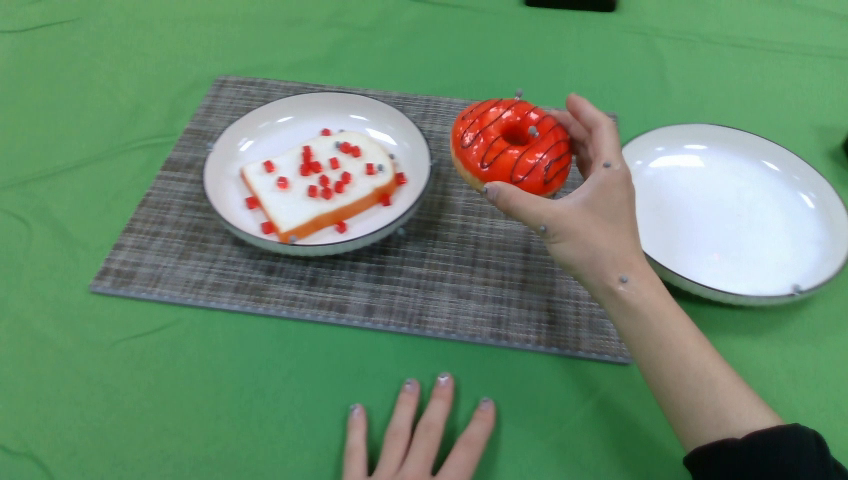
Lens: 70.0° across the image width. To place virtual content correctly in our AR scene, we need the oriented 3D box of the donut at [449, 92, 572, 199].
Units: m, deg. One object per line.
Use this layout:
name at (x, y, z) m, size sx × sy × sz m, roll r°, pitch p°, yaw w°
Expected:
donut at (0.067, -0.075, 0.472) m, size 0.099 × 0.048 × 0.098 m, roll 8°, pitch 54°, yaw -11°

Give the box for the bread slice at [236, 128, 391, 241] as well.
bread slice at (-0.100, -0.062, 0.569) m, size 0.131 × 0.019 × 0.104 m, roll -27°, pitch 56°, yaw -19°

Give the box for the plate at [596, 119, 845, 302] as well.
plate at (0.258, -0.027, 0.545) m, size 0.208 × 0.039 × 0.205 m, roll 0°, pitch 51°, yaw 0°

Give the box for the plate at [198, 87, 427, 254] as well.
plate at (-0.102, -0.066, 0.570) m, size 0.209 × 0.038 × 0.207 m, roll 0°, pitch 52°, yaw 0°
